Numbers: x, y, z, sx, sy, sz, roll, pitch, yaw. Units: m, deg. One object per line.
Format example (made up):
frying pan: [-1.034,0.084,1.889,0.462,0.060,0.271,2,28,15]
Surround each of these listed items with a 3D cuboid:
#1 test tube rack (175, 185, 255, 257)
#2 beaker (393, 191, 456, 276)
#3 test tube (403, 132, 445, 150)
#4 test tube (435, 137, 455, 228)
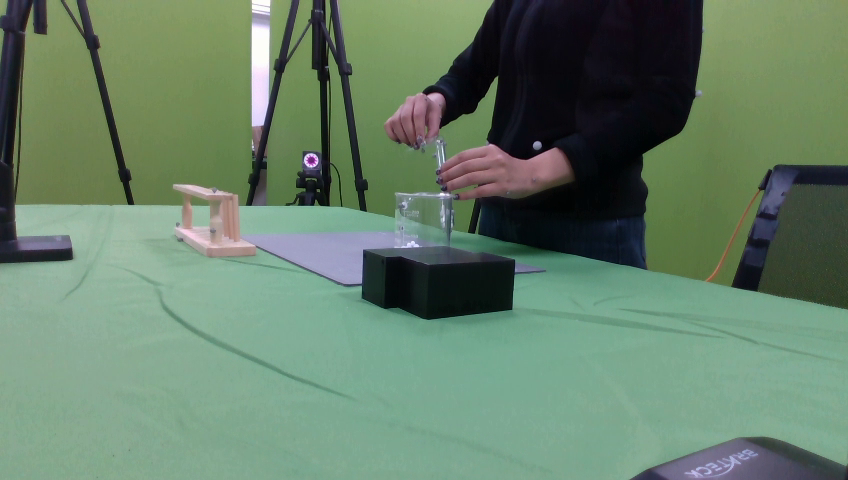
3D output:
test tube rack: [-0.324,-0.035,0.922,0.067,0.085,0.241,-2,9,-31]
beaker: [-0.003,-0.010,0.749,0.074,0.100,0.083,-3,8,-40]
test tube: [-0.003,-0.161,0.996,0.017,0.017,0.150,-1,3,-23]
test tube: [0.031,-0.087,0.900,0.017,0.150,0.017,-5,-24,-2]
